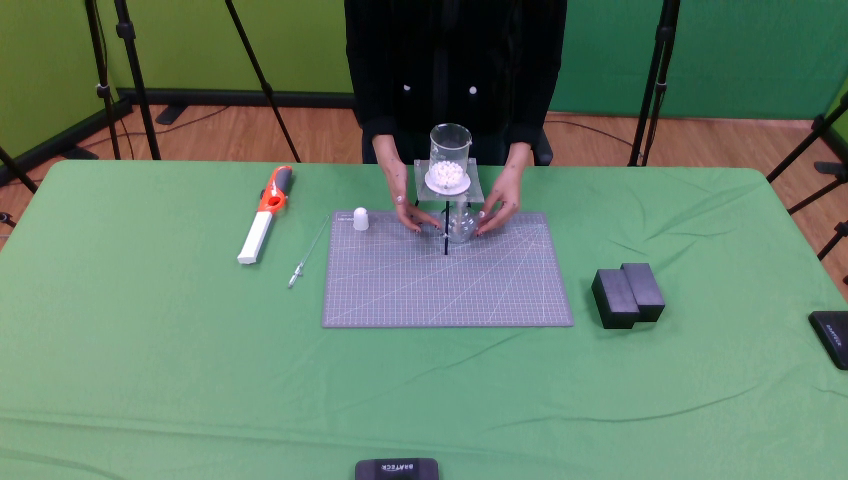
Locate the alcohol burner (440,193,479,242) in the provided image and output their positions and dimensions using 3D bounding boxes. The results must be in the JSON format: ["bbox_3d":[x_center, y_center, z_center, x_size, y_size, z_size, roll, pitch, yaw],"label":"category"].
[{"bbox_3d":[0.070,-0.052,1.186,0.078,0.120,0.077,1,48,-1],"label":"alcohol burner"}]

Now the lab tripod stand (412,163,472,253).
[{"bbox_3d":[0.043,-0.070,1.187,0.148,0.132,0.147,3,47,-3],"label":"lab tripod stand"}]

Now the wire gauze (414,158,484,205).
[{"bbox_3d":[0.045,-0.113,1.137,0.125,0.011,0.120,2,48,-6],"label":"wire gauze"}]

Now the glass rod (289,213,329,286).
[{"bbox_3d":[-0.221,0.014,1.179,0.008,0.008,0.199,12,46,8],"label":"glass rod"}]

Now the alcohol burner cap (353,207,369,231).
[{"bbox_3d":[-0.127,-0.046,1.215,0.034,0.048,0.033,3,47,-3],"label":"alcohol burner cap"}]

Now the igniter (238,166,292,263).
[{"bbox_3d":[-0.318,-0.060,1.229,0.057,0.025,0.275,-2,45,10],"label":"igniter"}]

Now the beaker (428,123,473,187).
[{"bbox_3d":[0.044,-0.154,1.109,0.074,0.101,0.083,-25,54,-25],"label":"beaker"}]
